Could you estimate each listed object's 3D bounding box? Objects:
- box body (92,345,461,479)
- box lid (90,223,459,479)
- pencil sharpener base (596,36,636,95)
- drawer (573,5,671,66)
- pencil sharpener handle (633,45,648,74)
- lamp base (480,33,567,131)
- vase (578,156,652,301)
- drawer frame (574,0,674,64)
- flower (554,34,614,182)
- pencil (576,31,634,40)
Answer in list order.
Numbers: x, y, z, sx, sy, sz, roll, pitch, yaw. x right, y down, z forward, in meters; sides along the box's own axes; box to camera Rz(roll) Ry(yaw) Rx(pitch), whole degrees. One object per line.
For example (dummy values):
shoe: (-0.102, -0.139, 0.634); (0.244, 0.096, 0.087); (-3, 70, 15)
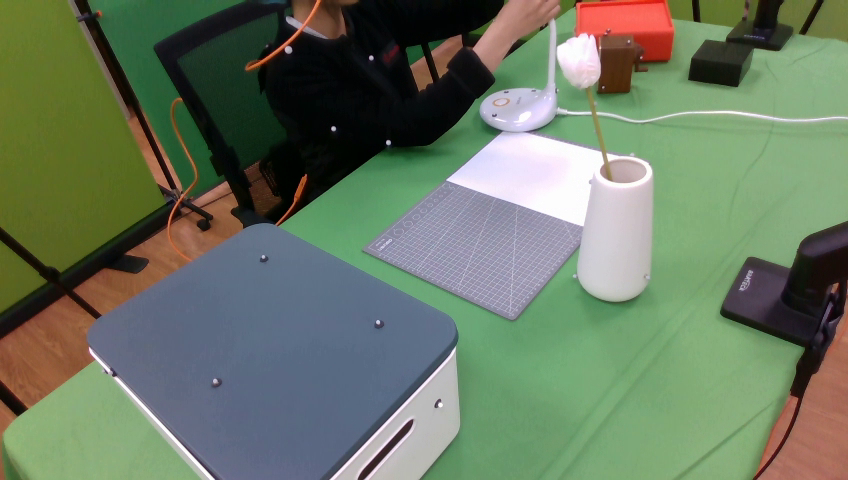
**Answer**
box body: (-0.162, 0.170, 0.708); (0.361, 0.161, 0.255); (25, 50, 34)
box lid: (-0.174, 0.102, 0.666); (0.368, 0.015, 0.264); (24, 48, 35)
pencil sharpener base: (0.406, -0.369, 1.280); (0.076, 0.107, 0.061); (1, 41, 13)
drawer: (0.461, -0.489, 1.435); (0.211, 0.073, 0.194); (2, 41, 12)
pencil sharpener handle: (0.454, -0.378, 1.262); (0.030, 0.068, 0.036); (1, 46, 13)
lamp base: (0.204, -0.331, 1.215); (0.179, 0.181, 0.160); (4, 42, 6)
vase: (0.261, -0.011, 0.812); (0.098, 0.201, 0.097); (-4, 40, 4)
drawer frame: (0.464, -0.492, 1.434); (0.213, 0.083, 0.201); (1, 40, 12)
flower: (0.237, -0.083, 0.774); (0.044, 0.363, 0.038); (-22, 26, 7)
pencil: (0.430, -0.487, 1.443); (0.012, 0.012, 0.192); (-25, 30, -18)
